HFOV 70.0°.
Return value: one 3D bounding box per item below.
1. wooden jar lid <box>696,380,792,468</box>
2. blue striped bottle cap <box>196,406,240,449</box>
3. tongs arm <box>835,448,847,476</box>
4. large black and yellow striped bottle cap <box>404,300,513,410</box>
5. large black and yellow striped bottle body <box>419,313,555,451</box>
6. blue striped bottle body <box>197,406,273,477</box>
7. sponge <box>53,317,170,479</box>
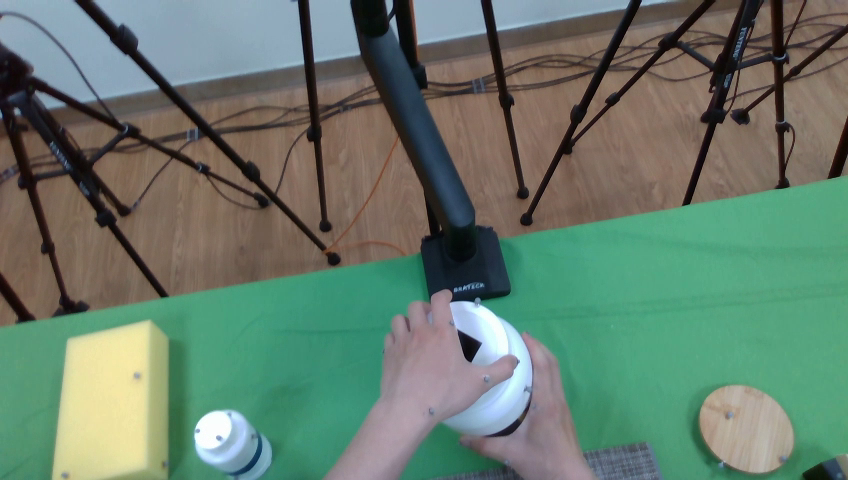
[{"bbox_3d":[0.390,0.226,0.743,0.108,0.021,0.107,-3,58,5],"label":"wooden jar lid"},{"bbox_3d":[-0.236,0.213,0.692,0.044,0.021,0.044,-2,58,4],"label":"blue striped bottle cap"},{"bbox_3d":[0.518,0.389,0.580,0.051,0.027,0.381,-13,67,-5],"label":"tongs arm"},{"bbox_3d":[0.034,0.117,0.625,0.115,0.019,0.114,-11,57,19],"label":"large black and yellow striped bottle cap"},{"bbox_3d":[0.068,0.159,0.696,0.130,0.186,0.129,-12,57,20],"label":"large black and yellow striped bottle body"},{"bbox_3d":[-0.230,0.242,0.734,0.063,0.122,0.062,-3,56,5],"label":"blue striped bottle body"},{"bbox_3d":[-0.409,0.217,0.804,0.118,0.061,0.204,-14,57,-4],"label":"sponge"}]
